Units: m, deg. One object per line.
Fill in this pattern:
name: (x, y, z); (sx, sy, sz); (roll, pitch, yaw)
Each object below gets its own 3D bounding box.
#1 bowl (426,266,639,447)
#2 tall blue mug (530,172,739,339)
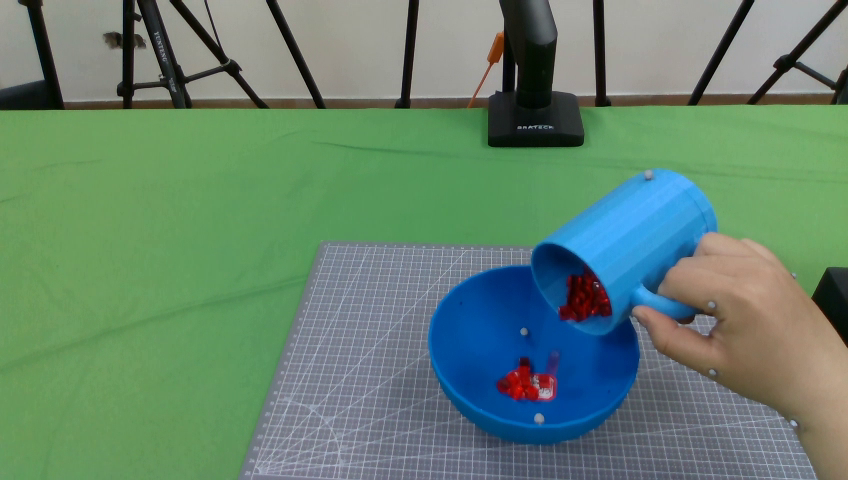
bowl: (0.078, 0.099, 0.459); (0.151, 0.077, 0.150); (-2, 41, 2)
tall blue mug: (0.147, 0.009, 0.416); (0.108, 0.078, 0.107); (-32, 9, -23)
